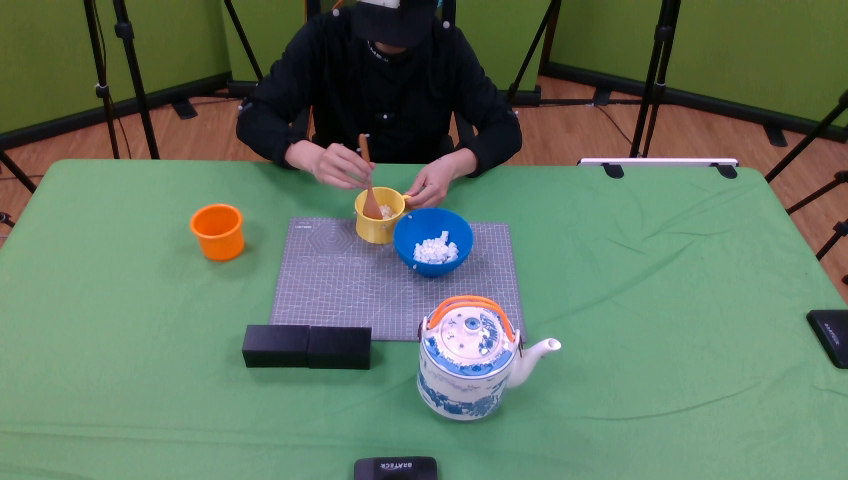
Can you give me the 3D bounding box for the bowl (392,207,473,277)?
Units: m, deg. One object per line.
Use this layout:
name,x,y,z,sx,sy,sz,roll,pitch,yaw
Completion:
bowl,0.014,0.016,1.140,0.151,0.077,0.150,2,46,-2

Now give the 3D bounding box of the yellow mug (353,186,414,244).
yellow mug,-0.076,-0.056,1.211,0.131,0.064,0.099,-23,52,-24

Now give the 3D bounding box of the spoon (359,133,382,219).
spoon,-0.106,-0.110,1.133,0.041,0.194,0.021,6,31,17

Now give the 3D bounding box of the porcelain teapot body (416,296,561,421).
porcelain teapot body,0.094,0.164,0.907,0.205,0.226,0.144,6,45,1

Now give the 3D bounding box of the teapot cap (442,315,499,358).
teapot cap,0.068,0.133,0.880,0.085,0.044,0.084,4,45,-4
